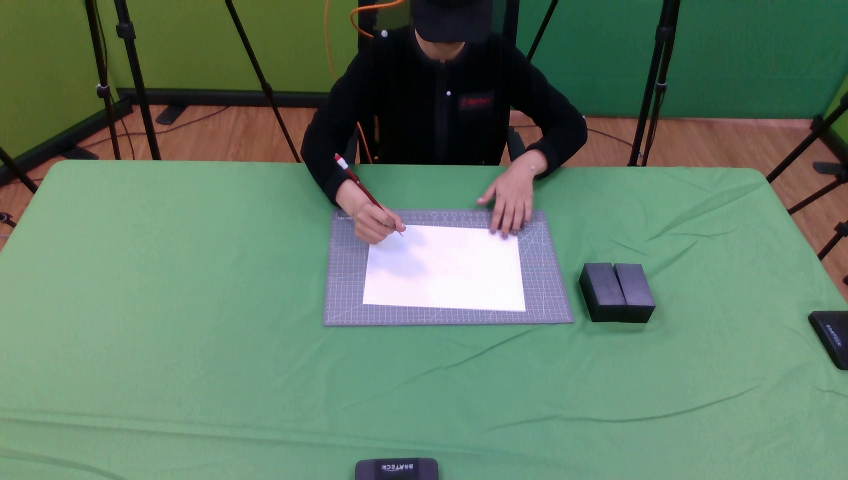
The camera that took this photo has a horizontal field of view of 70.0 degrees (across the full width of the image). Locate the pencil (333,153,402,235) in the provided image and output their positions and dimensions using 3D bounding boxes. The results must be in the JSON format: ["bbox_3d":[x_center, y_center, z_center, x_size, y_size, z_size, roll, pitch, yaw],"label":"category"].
[{"bbox_3d":[-0.101,-0.082,1.116,0.194,0.012,0.012,51,51,-14],"label":"pencil"}]
